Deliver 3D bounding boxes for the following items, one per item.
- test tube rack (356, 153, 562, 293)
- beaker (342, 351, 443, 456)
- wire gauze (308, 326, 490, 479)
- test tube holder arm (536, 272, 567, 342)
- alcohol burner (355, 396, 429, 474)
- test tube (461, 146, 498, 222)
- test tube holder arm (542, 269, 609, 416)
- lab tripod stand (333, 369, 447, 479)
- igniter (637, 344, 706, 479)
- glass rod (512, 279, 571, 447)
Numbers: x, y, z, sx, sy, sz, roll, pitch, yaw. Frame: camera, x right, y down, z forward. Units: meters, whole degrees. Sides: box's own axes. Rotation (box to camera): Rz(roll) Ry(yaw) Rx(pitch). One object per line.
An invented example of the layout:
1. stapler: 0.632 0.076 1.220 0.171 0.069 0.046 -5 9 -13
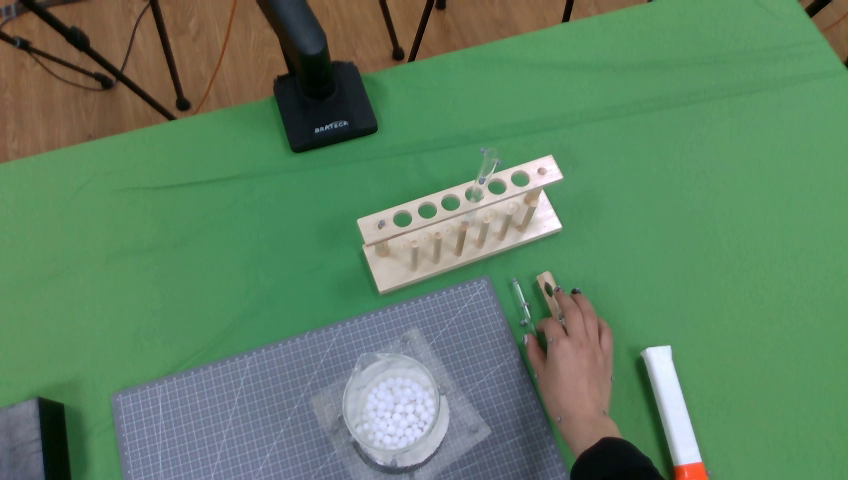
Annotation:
1. test tube rack: 0.047 -0.019 0.721 0.242 0.086 0.066 -19 68 -9
2. beaker: -0.026 0.137 0.501 0.074 0.101 0.083 -32 70 -11
3. wire gauze: -0.024 0.158 0.544 0.121 0.011 0.124 -33 73 -10
4. test tube holder arm: 0.154 0.079 0.718 0.010 0.015 0.087 -29 67 22
5. alcohol burner: -0.034 0.194 0.611 0.078 0.120 0.077 0 65 0
6. test tube: 0.061 -0.058 0.684 0.017 0.151 0.017 3 64 -6
7. test tube holder arm: 0.173 0.116 0.700 0.013 0.015 0.177 -29 67 22
8. lab tripod stand: -0.029 0.187 0.604 0.148 0.132 0.147 0 68 1
9. igniter: 0.280 0.248 0.646 0.057 0.025 0.274 -3 67 -13
10. glass rod: 0.134 0.137 0.698 0.008 0.008 0.198 -13 70 -7
